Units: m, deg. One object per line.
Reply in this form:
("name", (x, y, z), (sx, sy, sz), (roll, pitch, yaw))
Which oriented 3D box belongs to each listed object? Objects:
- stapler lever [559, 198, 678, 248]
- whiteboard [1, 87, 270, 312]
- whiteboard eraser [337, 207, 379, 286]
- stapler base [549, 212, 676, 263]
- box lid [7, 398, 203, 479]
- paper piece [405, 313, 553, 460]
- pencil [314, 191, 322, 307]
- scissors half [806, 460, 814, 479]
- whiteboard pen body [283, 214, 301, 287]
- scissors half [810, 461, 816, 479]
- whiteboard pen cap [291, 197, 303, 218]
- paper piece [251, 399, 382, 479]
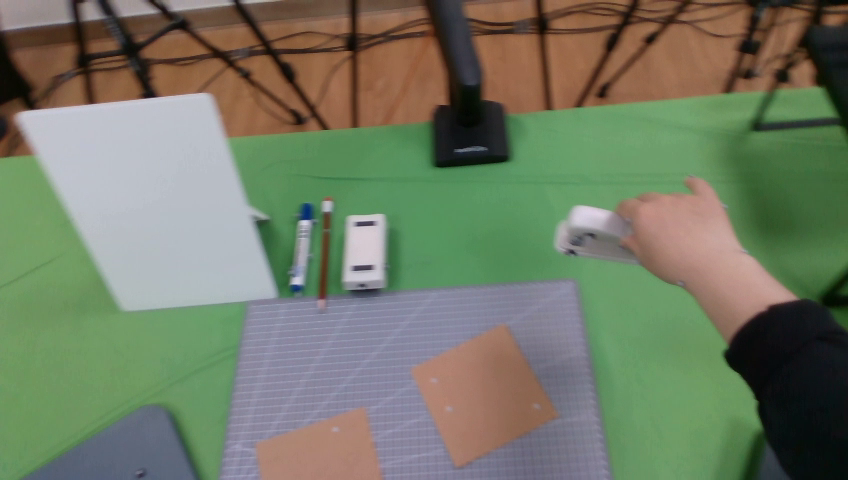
("stapler lever", (0.197, -0.017, 0.612), (0.118, 0.040, 0.026), (9, 72, 10))
("whiteboard", (-0.332, -0.073, 0.789), (0.217, 0.308, 0.142), (-5, 39, 3))
("whiteboard eraser", (-0.092, 0.009, 0.837), (0.055, 0.042, 0.111), (-6, 58, 3))
("stapler base", (0.198, -0.008, 0.635), (0.130, 0.024, 0.041), (9, 72, 10))
("box lid", (-0.340, 0.377, 0.650), (0.263, 0.015, 0.368), (-32, 62, -14))
("paper piece", (0.064, 0.175, 0.738), (0.136, 0.009, 0.137), (-26, 61, -7))
("pencil", (-0.151, 0.009, 0.860), (0.012, 0.012, 0.192), (-7, 58, 1))
("scissors half", (0.353, 0.292, 0.577), (0.012, 0.040, 0.174), (19, 65, 21))
("whiteboard pen body", (-0.187, 0.003, 0.863), (0.017, 0.017, 0.139), (-4, 58, 3))
("scissors half", (0.357, 0.301, 0.596), (0.013, 0.040, 0.175), (21, 83, 16))
("whiteboard pen cap", (-0.187, -0.046, 0.893), (0.018, 0.018, 0.033), (-6, 57, 2))
("paper piece", (-0.122, 0.267, 0.698), (0.135, 0.004, 0.134), (-17, 60, -7))
